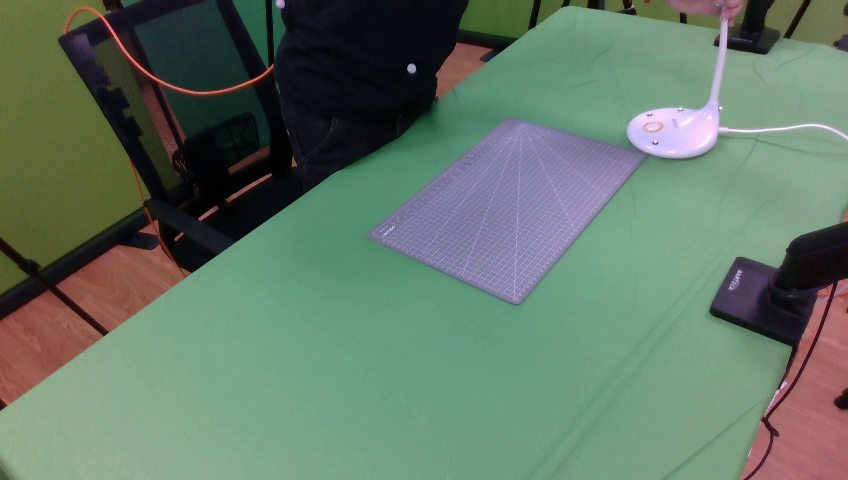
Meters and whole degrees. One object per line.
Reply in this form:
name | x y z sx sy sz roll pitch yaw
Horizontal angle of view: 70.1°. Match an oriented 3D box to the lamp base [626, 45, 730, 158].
lamp base | 0.468 -0.262 1.086 0.179 0.181 0.159 -4 41 0
